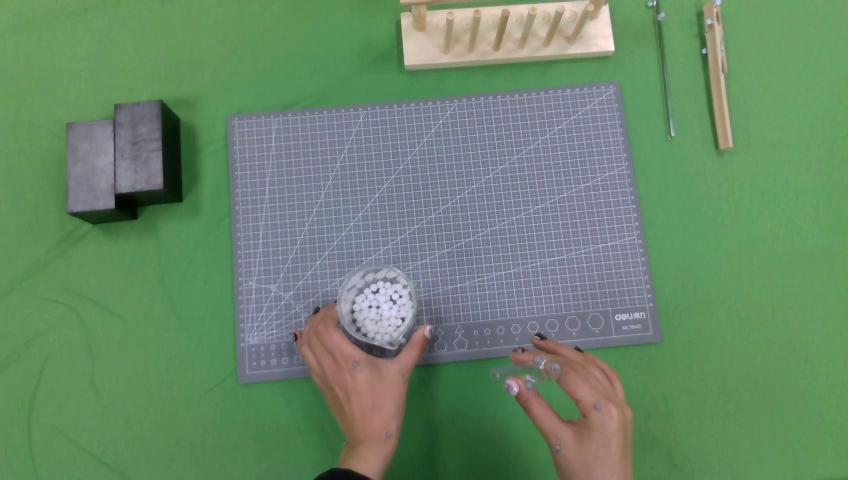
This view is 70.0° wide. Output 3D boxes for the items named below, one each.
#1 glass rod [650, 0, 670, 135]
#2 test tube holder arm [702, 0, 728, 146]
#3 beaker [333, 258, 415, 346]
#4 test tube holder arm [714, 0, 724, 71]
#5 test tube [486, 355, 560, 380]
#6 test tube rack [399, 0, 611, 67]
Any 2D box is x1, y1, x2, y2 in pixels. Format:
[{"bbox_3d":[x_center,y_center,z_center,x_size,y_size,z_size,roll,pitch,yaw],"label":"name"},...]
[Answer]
[{"bbox_3d":[0.274,-0.217,0.706,0.008,0.008,0.199,-1,79,-1],"label":"glass rod"},{"bbox_3d":[0.333,-0.194,0.694,0.013,0.015,0.177,7,78,-28],"label":"test tube holder arm"},{"bbox_3d":[-0.044,0.066,0.603,0.074,0.100,0.083,-22,81,-4],"label":"beaker"},{"bbox_3d":[0.339,-0.238,0.706,0.010,0.015,0.087,7,78,-28],"label":"test tube holder arm"},{"bbox_3d":[0.078,0.109,0.509,0.017,0.150,0.017,2,76,-10],"label":"test tube"},{"bbox_3d":[0.094,-0.250,0.672,0.242,0.085,0.066,-4,79,-1],"label":"test tube rack"}]
